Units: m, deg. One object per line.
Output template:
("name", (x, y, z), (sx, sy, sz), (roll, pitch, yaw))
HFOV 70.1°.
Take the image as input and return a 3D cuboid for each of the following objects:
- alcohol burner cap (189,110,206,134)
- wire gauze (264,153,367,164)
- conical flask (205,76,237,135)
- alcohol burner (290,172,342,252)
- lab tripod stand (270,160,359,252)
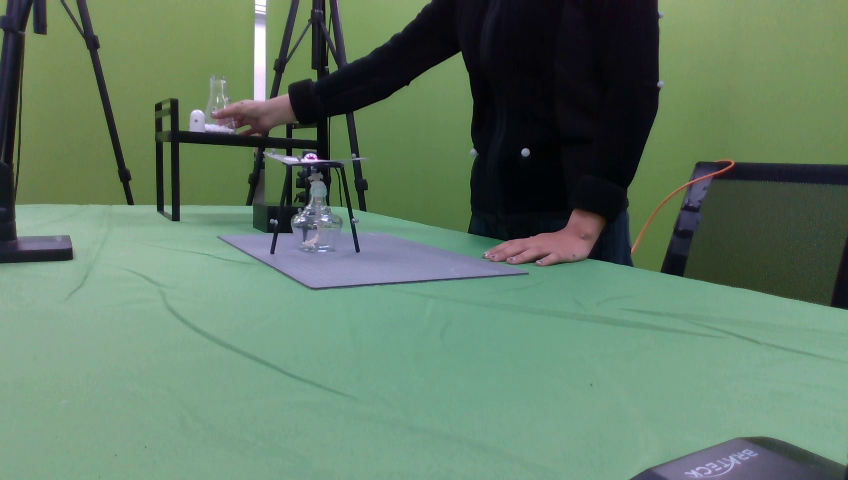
("alcohol burner cap", (-0.464, -0.243, 1.240), (0.034, 0.048, 0.034), (4, 7, 0))
("wire gauze", (-0.160, -0.118, 0.888), (0.122, 0.011, 0.124), (-3, 10, -32))
("conical flask", (-0.444, -0.290, 1.309), (0.075, 0.122, 0.075), (3, 7, 0))
("alcohol burner", (-0.160, -0.042, 0.899), (0.078, 0.119, 0.078), (5, 8, 0))
("lab tripod stand", (-0.167, -0.051, 0.892), (0.148, 0.131, 0.148), (4, 9, 0))
